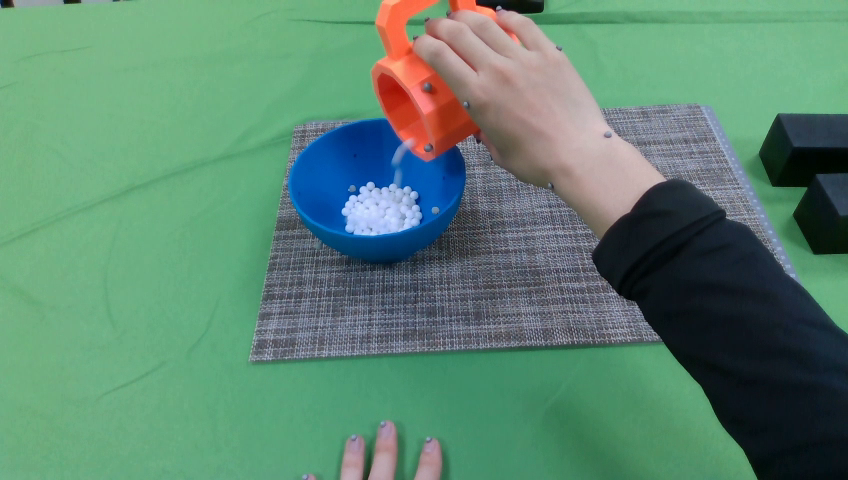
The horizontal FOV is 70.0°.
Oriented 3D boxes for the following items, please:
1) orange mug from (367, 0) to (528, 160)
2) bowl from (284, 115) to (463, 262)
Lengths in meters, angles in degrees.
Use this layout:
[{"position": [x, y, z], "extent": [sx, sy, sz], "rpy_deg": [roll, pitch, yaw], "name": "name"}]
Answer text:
[{"position": [0.012, -0.138, 0.474], "extent": [0.101, 0.127, 0.082], "rpy_deg": [-38, 40, -12], "name": "orange mug"}, {"position": [-0.040, -0.034, 0.535], "extent": [0.151, 0.077, 0.150], "rpy_deg": [-2, 49, 2], "name": "bowl"}]
